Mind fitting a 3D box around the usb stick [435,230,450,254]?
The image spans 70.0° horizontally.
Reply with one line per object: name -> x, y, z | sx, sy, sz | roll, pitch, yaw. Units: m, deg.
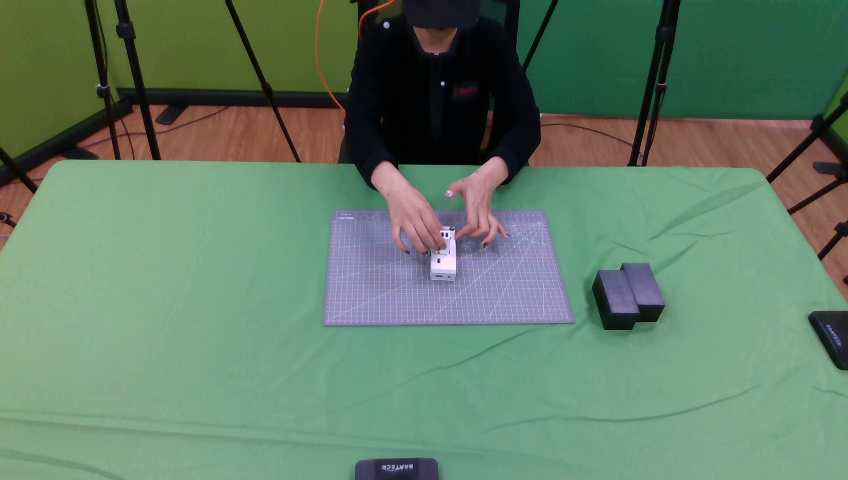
usb stick -> 0.034, 0.009, 1.146 | 0.027, 0.059, 0.021 | 4, 46, -3

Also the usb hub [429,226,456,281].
usb hub -> 0.037, 0.024, 1.173 | 0.049, 0.025, 0.124 | 3, 46, -1
